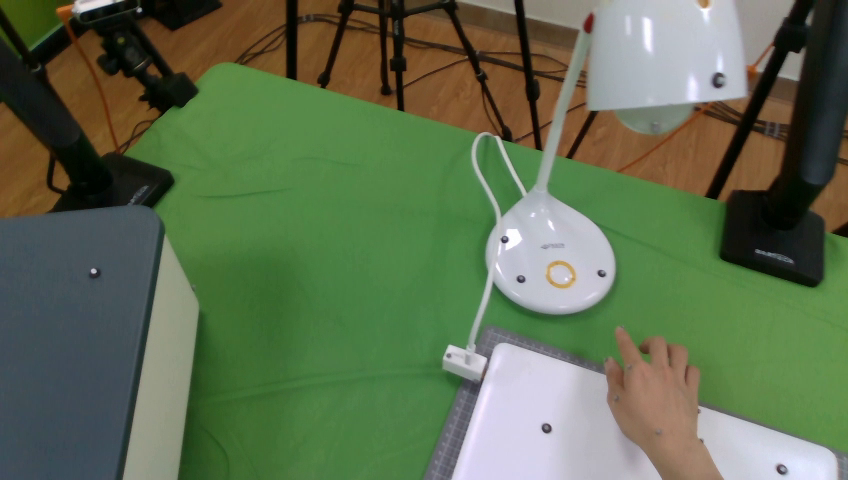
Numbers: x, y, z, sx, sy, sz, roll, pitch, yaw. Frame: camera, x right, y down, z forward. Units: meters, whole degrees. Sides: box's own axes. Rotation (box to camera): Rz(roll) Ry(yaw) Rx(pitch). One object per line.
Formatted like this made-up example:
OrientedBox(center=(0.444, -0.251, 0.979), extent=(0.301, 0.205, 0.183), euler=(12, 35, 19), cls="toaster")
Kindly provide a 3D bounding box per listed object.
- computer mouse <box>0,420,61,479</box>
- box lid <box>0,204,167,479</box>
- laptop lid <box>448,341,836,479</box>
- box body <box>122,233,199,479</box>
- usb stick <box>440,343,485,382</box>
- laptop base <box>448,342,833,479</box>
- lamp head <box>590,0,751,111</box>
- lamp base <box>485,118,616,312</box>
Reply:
OrientedBox(center=(-0.397, 0.214, 0.585), extent=(0.063, 0.041, 0.116), euler=(-30, 19, -10), cls="computer mouse")
OrientedBox(center=(-0.368, 0.120, 0.500), extent=(0.263, 0.015, 0.367), euler=(-5, 55, -3), cls="box lid")
OrientedBox(center=(0.202, 0.248, 0.575), extent=(0.355, 0.013, 0.240), euler=(18, 58, 13), cls="laptop lid")
OrientedBox(center=(-0.368, 0.166, 0.558), extent=(0.254, 0.162, 0.360), euler=(-4, 54, -4), cls="box body")
OrientedBox(center=(0.049, 0.135, 0.655), extent=(0.059, 0.027, 0.021), euler=(22, 52, 11), cls="usb stick")
OrientedBox(center=(0.203, 0.253, 0.586), extent=(0.353, 0.023, 0.234), euler=(17, 59, 11), cls="laptop base")
OrientedBox(center=(0.173, -0.156, 0.438), extent=(0.112, 0.112, 0.123), euler=(-7, 98, -5), cls="lamp head")
OrientedBox(center=(0.151, -0.036, 0.696), extent=(0.161, 0.182, 0.177), euler=(-14, 52, -10), cls="lamp base")
